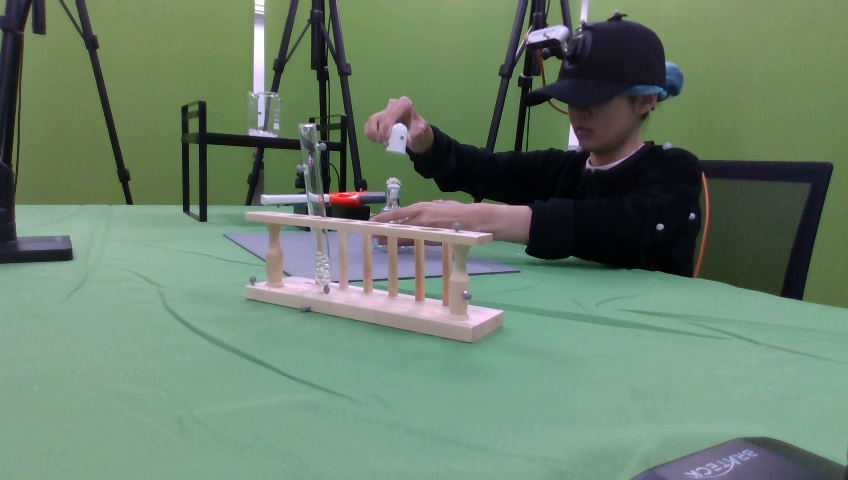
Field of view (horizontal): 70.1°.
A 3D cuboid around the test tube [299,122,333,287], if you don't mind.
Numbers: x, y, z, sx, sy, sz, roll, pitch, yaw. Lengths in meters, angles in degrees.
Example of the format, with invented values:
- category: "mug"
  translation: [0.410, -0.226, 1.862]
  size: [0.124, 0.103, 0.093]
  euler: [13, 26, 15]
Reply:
- category: "test tube"
  translation: [-0.097, -0.030, 0.543]
  size: [0.017, 0.150, 0.017]
  euler: [-3, 14, 1]

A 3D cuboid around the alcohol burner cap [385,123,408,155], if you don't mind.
- category: "alcohol burner cap"
  translation: [-0.040, -0.157, 0.935]
  size: [0.034, 0.048, 0.034]
  euler: [10, 6, -1]

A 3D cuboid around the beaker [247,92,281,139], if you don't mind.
- category: "beaker"
  translation: [-0.361, -0.280, 1.359]
  size: [0.074, 0.100, 0.084]
  euler: [4, 8, 8]

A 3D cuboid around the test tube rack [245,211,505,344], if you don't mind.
- category: "test tube rack"
  translation: [-0.049, 0.025, 0.547]
  size: [0.241, 0.085, 0.067]
  euler: [7, 8, 29]

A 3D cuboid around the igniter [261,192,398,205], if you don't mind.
- category: "igniter"
  translation: [-0.185, -0.083, 1.217]
  size: [0.278, 0.025, 0.057]
  euler: [-2, 12, -25]

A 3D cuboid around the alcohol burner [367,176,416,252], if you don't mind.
- category: "alcohol burner"
  translation: [-0.049, -0.041, 0.947]
  size: [0.078, 0.119, 0.078]
  euler: [3, 5, 0]
